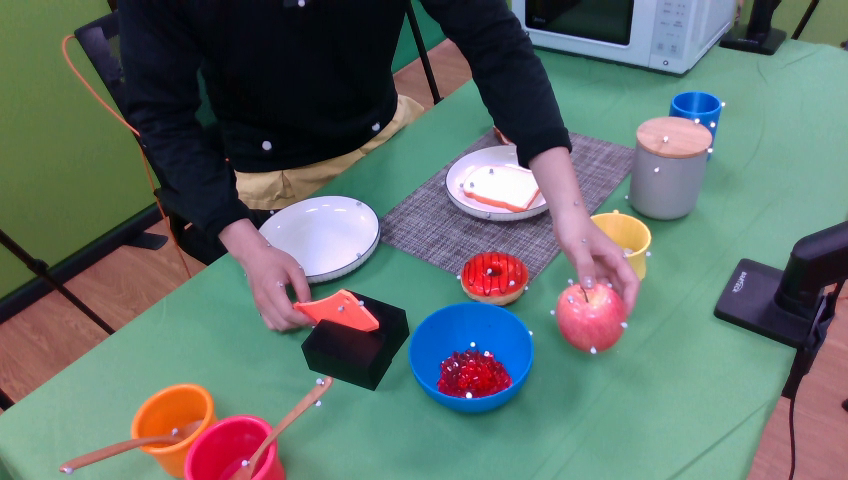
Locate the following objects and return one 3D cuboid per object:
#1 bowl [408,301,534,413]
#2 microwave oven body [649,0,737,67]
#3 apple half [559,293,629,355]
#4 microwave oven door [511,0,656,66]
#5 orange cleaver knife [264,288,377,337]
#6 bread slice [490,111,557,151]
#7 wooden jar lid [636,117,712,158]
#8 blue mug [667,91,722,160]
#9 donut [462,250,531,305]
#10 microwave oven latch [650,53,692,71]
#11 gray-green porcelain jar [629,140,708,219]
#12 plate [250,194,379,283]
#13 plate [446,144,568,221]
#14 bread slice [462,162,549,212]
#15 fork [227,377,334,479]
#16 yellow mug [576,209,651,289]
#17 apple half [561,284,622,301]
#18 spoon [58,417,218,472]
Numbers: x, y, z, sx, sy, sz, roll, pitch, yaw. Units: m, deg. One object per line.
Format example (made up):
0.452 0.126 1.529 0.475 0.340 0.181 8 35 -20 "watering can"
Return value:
0.059 0.155 0.739 0.151 0.077 0.150 -4 40 4 "bowl"
0.475 -0.602 1.411 0.438 0.261 0.327 23 50 32 "microwave oven body"
0.198 0.103 0.711 0.080 0.075 0.053 2 39 17 "apple half"
0.350 -0.539 1.348 0.353 0.245 0.039 24 50 31 "microwave oven door"
-0.145 0.103 0.824 0.210 0.077 0.012 -10 29 43 "orange cleaver knife"
0.193 -0.204 1.165 0.105 0.019 0.130 -13 40 -4 "bread slice"
0.377 -0.151 0.917 0.108 0.021 0.108 -2 41 3 "wooden jar lid"
0.474 -0.207 1.079 0.082 0.106 0.116 4 42 13 "blue mug"
0.104 0.054 0.872 0.099 0.048 0.098 -5 40 5 "donut"
0.531 -0.386 1.301 0.078 0.029 0.030 25 51 33 "microwave oven latch"
0.383 -0.105 0.958 0.106 0.127 0.105 -4 41 4 "gray-green porcelain jar"
-0.174 0.000 0.984 0.209 0.038 0.208 -3 40 3 "plate"
0.142 -0.096 1.045 0.207 0.039 0.206 -4 40 4 "plate"
0.135 -0.093 1.045 0.133 0.018 0.107 15 45 23 "bread slice"
-0.163 0.216 0.647 0.207 0.019 0.028 -49 41 16 "fork"
0.278 0.004 0.893 0.099 0.064 0.130 6 42 14 "yellow mug"
0.208 0.081 0.742 0.081 0.081 0.033 6 39 15 "apple half"
-0.304 0.221 0.661 0.041 0.195 0.021 21 93 26 "spoon"
